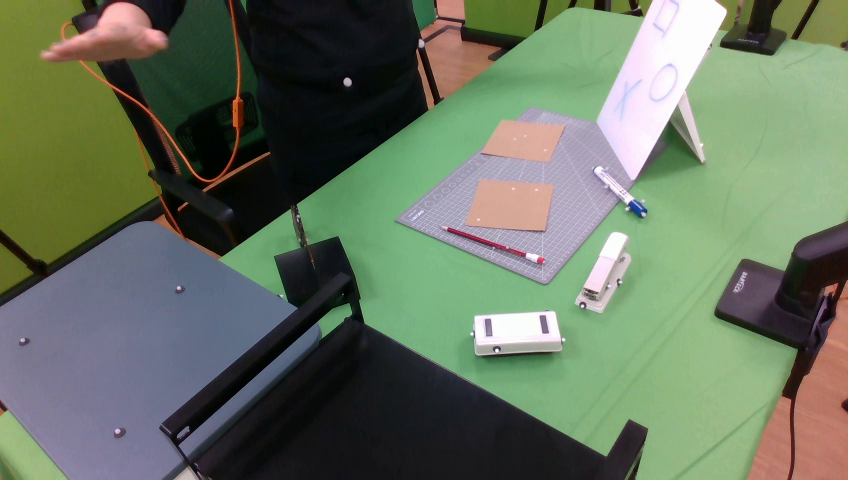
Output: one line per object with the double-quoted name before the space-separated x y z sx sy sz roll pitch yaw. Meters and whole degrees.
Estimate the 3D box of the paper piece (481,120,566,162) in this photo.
"paper piece" 0.197 -0.199 1.188 0.135 0.004 0.135 11 44 21

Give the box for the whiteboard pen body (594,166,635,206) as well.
"whiteboard pen body" 0.330 -0.085 1.027 0.017 0.017 0.139 -17 41 -10

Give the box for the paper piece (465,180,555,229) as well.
"paper piece" 0.149 -0.062 1.035 0.137 0.009 0.136 4 37 17

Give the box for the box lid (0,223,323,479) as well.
"box lid" -0.318 0.109 0.671 0.368 0.015 0.264 24 50 31

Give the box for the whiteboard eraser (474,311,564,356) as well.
"whiteboard eraser" 0.123 0.125 0.794 0.113 0.042 0.055 -5 38 3

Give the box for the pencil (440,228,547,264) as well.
"pencil" 0.105 0.006 0.958 0.192 0.012 0.012 18 46 30

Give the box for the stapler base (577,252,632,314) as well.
"stapler base" 0.264 0.051 0.875 0.041 0.024 0.131 16 47 30

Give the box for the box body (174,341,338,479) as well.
"box body" -0.311 0.165 0.720 0.361 0.161 0.255 23 49 32

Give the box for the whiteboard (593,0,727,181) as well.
"whiteboard" 0.452 -0.272 1.056 0.144 0.305 0.216 9 38 -12

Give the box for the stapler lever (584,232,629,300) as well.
"stapler lever" 0.260 0.034 0.858 0.026 0.040 0.118 16 46 30

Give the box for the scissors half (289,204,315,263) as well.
"scissors half" -0.191 -0.010 0.944 0.013 0.040 0.173 -16 37 -16

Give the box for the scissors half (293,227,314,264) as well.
"scissors half" -0.188 0.007 0.954 0.013 0.040 0.174 -20 22 -13

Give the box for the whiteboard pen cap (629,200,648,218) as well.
"whiteboard pen cap" 0.348 -0.052 0.984 0.018 0.018 0.033 -18 41 -12
